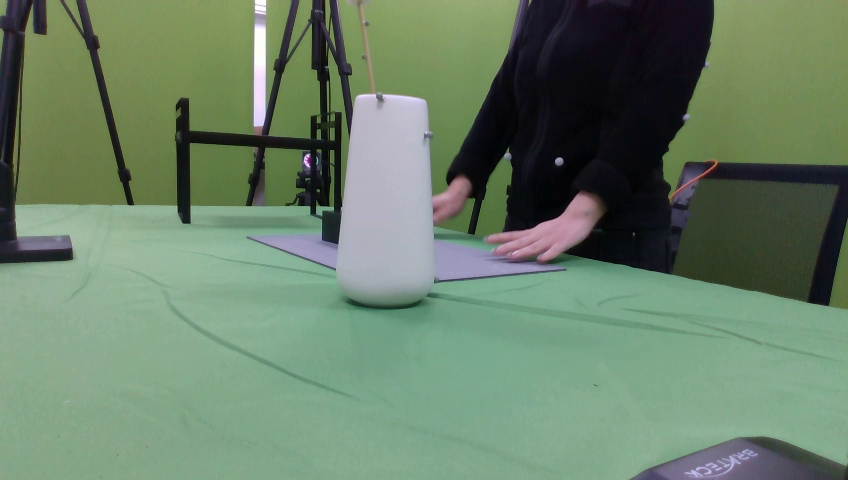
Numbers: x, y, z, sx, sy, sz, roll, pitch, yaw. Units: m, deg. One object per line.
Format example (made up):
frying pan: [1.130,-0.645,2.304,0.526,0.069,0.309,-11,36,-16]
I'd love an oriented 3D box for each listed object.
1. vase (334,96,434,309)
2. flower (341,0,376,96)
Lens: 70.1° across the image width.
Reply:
vase: [-0.038,-0.036,0.590,0.098,0.200,0.098,1,8,0]
flower: [-0.047,-0.119,0.591,0.044,0.361,0.038,-8,-7,-22]
